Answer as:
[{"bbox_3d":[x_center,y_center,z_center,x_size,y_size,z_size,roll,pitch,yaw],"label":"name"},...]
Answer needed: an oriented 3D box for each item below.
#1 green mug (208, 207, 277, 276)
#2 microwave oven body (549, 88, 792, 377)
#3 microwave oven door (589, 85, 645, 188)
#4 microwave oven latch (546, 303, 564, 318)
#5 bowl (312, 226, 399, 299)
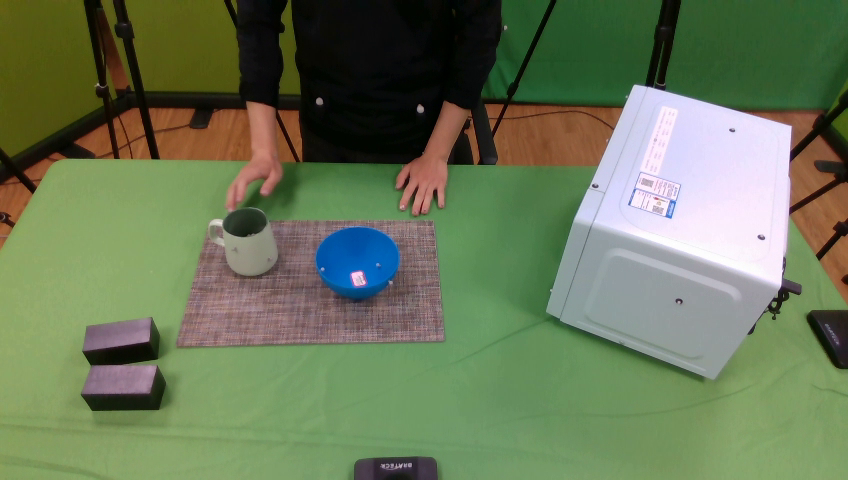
[{"bbox_3d":[-0.335,0.000,1.108,0.125,0.105,0.092,14,47,9],"label":"green mug"},{"bbox_3d":[0.456,-0.028,1.088,0.325,0.261,0.440,20,47,16],"label":"microwave oven body"},{"bbox_3d":[0.342,-0.107,1.149,0.039,0.245,0.354,20,48,15],"label":"microwave oven door"},{"bbox_3d":[0.242,0.102,1.081,0.030,0.029,0.079,21,48,17],"label":"microwave oven latch"},{"bbox_3d":[-0.120,0.054,1.091,0.151,0.077,0.150,2,46,-2],"label":"bowl"}]
